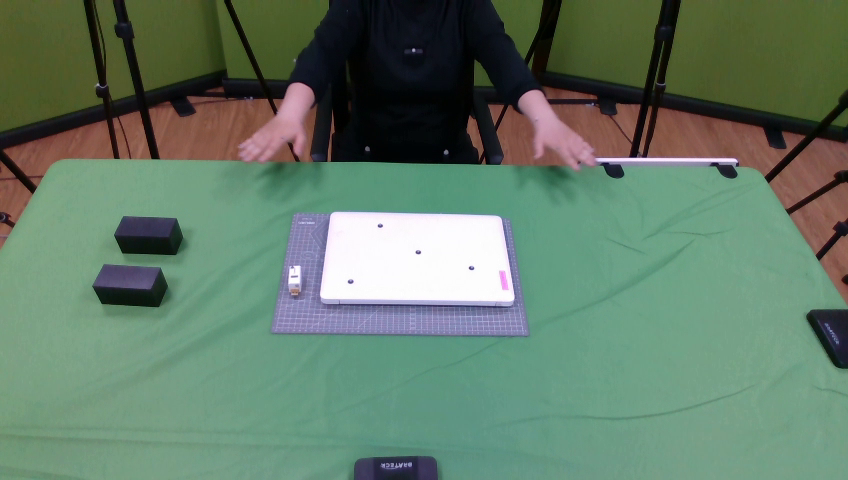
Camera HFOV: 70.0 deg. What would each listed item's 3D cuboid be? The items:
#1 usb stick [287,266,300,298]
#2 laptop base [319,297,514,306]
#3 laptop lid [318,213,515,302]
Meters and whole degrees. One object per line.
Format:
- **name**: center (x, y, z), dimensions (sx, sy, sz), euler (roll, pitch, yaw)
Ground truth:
- **usb stick**: center (-0.237, 0.077, 1.097), dimensions (0.021, 0.027, 0.059), euler (-2, 49, -7)
- **laptop base**: center (-0.015, 0.037, 1.162), dimensions (0.354, 0.023, 0.234), euler (1, 42, -3)
- **laptop lid**: center (-0.014, 0.027, 1.156), dimensions (0.357, 0.013, 0.240), euler (2, 43, -2)
